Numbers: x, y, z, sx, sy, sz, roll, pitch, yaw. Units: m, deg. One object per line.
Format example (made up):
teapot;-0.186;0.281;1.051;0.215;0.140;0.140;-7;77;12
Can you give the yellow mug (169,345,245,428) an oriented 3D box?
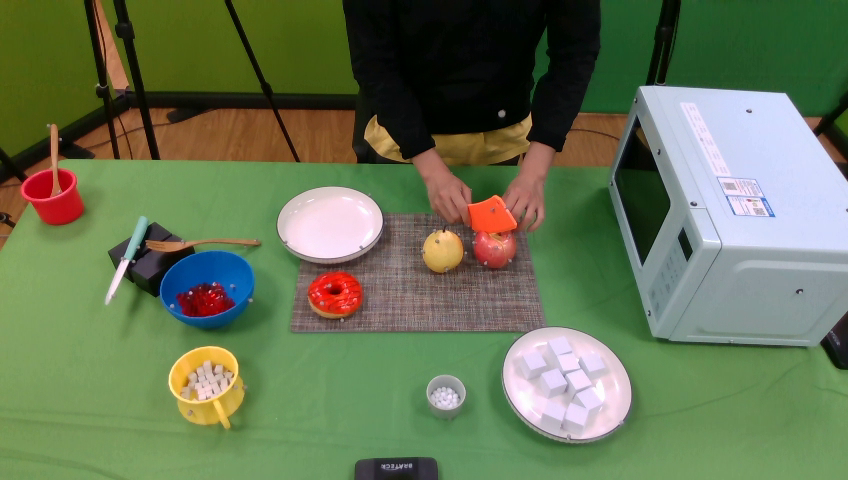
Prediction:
yellow mug;-0.322;0.230;0.922;0.100;0.064;0.130;-24;53;-25

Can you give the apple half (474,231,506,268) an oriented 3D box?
apple half;0.117;0.025;1.141;0.033;0.081;0.081;-30;55;-29

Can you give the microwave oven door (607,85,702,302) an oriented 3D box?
microwave oven door;0.423;-0.094;1.140;0.039;0.245;0.353;2;46;-1

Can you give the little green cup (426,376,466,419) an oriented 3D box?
little green cup;0.033;0.248;0.950;0.061;0.039;0.061;2;46;-2

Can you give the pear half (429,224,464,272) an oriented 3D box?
pear half;0.045;0.005;1.131;0.056;0.110;0.076;-32;59;-29

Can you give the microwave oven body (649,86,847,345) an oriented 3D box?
microwave oven body;0.567;-0.053;1.118;0.326;0.261;0.439;2;45;-1

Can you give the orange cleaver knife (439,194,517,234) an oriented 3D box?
orange cleaver knife;0.097;-0.045;1.135;0.012;0.077;0.210;-32;16;-28

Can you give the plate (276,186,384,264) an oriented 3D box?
plate;-0.184;-0.027;1.195;0.209;0.038;0.208;2;46;-2

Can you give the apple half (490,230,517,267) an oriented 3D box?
apple half;0.147;0.008;1.160;0.053;0.075;0.080;-27;48;-30

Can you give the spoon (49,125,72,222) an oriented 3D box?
spoon;-0.717;-0.131;1.189;0.042;0.021;0.193;-3;90;-7

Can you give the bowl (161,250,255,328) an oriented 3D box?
bowl;-0.362;0.097;1.040;0.151;0.077;0.150;2;45;-2

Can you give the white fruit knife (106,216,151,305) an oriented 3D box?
white fruit knife;-0.519;0.032;1.066;0.027;0.016;0.206;-18;45;19

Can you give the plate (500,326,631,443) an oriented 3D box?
plate;0.224;0.234;0.978;0.208;0.039;0.206;2;46;-2

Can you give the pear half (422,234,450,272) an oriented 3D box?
pear half;0.017;0.027;1.122;0.031;0.088;0.070;-32;61;-30

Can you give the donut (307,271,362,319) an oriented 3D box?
donut;-0.157;0.097;1.073;0.099;0.048;0.098;4;45;-4

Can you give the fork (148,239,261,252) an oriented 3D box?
fork;-0.399;0.007;1.118;0.208;0.019;0.028;-4;36;-37

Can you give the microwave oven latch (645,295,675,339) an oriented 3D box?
microwave oven latch;0.412;0.134;1.061;0.030;0.029;0.078;3;45;0
